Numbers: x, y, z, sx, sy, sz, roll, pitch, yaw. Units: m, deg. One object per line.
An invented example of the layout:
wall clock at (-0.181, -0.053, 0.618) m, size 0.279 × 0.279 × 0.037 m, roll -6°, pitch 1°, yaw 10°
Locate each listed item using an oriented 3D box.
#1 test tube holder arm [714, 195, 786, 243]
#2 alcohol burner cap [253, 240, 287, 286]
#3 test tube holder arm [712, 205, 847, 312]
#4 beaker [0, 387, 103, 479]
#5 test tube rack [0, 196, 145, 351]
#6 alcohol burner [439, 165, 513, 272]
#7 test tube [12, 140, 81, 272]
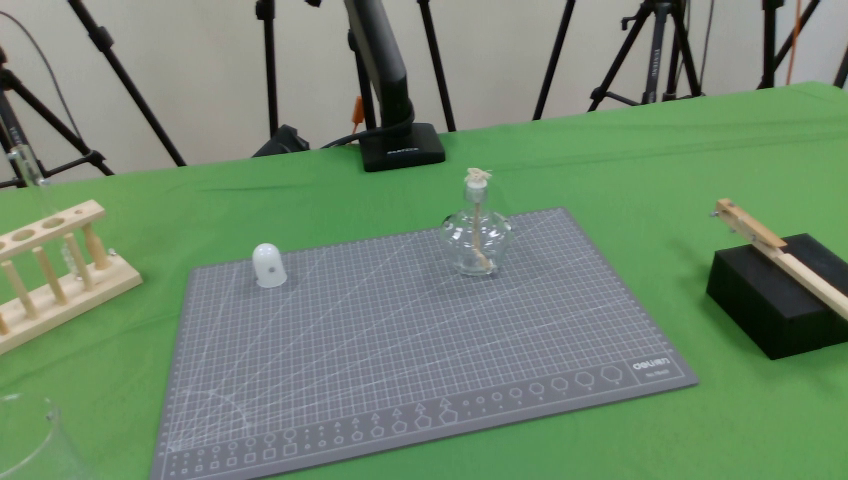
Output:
test tube holder arm at (0.316, -0.019, 0.591) m, size 0.015 × 0.010 × 0.087 m, roll -10°, pitch 35°, yaw -10°
alcohol burner cap at (-0.168, 0.022, 0.651) m, size 0.034 × 0.048 × 0.033 m, roll -3°, pitch 35°, yaw 2°
test tube holder arm at (0.327, 0.010, 0.557) m, size 0.015 × 0.013 × 0.176 m, roll -10°, pitch 34°, yaw -10°
beaker at (-0.273, 0.163, 0.416) m, size 0.084 × 0.101 × 0.073 m, roll -5°, pitch 35°, yaw 0°
test tube rack at (-0.422, 0.050, 0.604) m, size 0.066 × 0.086 × 0.242 m, roll 28°, pitch 46°, yaw 36°
alcohol burner at (0.055, -0.026, 0.634) m, size 0.078 × 0.120 × 0.077 m, roll -1°, pitch 35°, yaw 1°
test tube at (-0.386, -0.031, 0.630) m, size 0.017 × 0.151 × 0.017 m, roll -5°, pitch 31°, yaw 3°
